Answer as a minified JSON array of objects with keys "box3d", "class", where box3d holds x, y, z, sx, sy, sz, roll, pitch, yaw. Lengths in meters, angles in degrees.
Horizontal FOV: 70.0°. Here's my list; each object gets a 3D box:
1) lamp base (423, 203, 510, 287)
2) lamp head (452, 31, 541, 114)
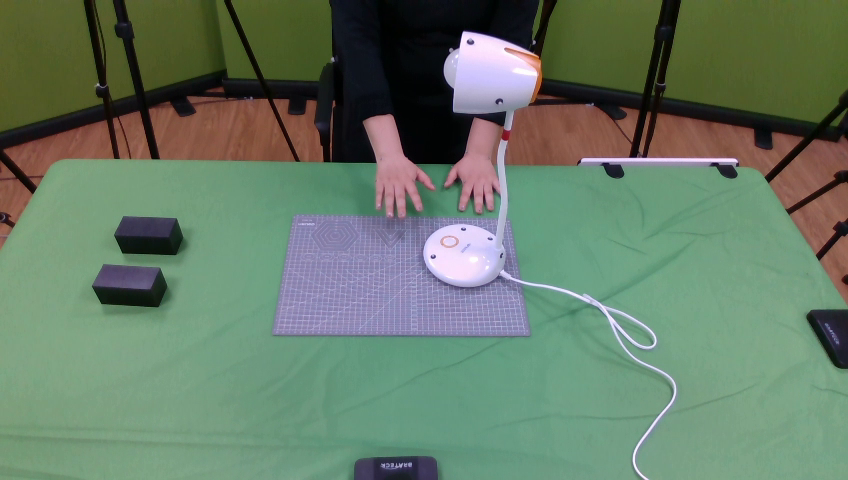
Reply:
[{"box3d":[0.092,-0.021,1.111,0.179,0.181,0.160,23,49,14],"class":"lamp base"},{"box3d":[0.102,-0.228,0.858,0.123,0.113,0.112,11,46,0],"class":"lamp head"}]
